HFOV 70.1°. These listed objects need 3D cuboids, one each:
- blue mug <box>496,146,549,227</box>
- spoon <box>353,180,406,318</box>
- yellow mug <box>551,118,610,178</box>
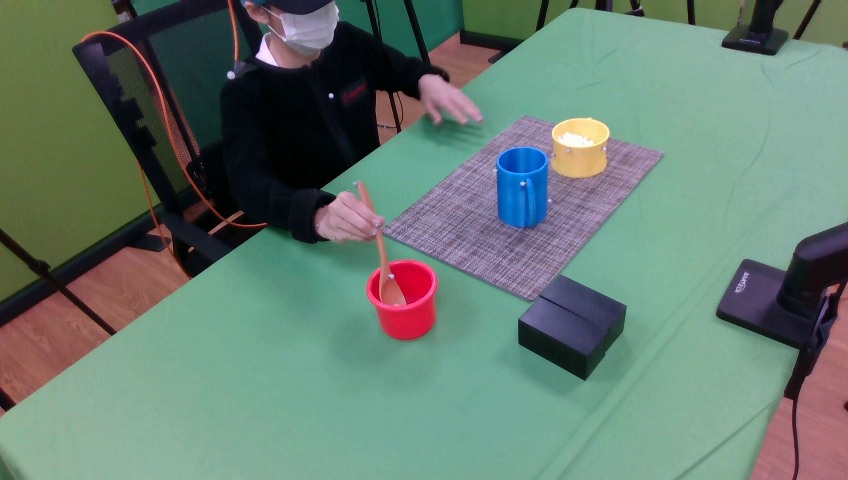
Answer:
[{"bbox_3d":[0.162,-0.076,0.969,0.082,0.106,0.116,-9,40,-1],"label":"blue mug"},{"bbox_3d":[-0.061,0.012,0.813,0.021,0.194,0.042,-7,9,46],"label":"spoon"},{"bbox_3d":[0.287,-0.176,1.098,0.099,0.064,0.131,12,43,22],"label":"yellow mug"}]
